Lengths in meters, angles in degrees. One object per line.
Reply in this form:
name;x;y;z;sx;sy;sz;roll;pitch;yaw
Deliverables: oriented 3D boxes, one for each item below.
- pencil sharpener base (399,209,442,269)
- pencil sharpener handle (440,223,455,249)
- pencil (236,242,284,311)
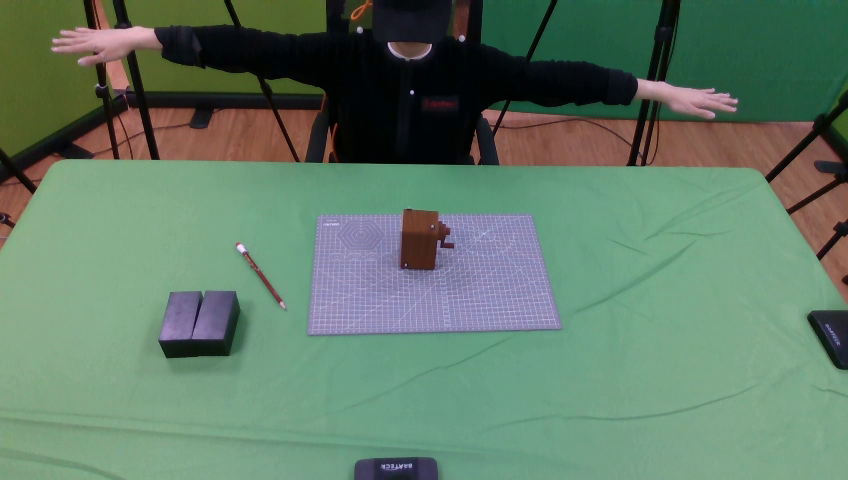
pencil sharpener base;-0.007;0.000;1.134;0.077;0.107;0.061;3;46;-1
pencil sharpener handle;0.045;-0.007;1.127;0.030;0.068;0.036;3;52;-1
pencil;-0.303;0.066;1.122;0.012;0.012;0.193;-26;54;-26
